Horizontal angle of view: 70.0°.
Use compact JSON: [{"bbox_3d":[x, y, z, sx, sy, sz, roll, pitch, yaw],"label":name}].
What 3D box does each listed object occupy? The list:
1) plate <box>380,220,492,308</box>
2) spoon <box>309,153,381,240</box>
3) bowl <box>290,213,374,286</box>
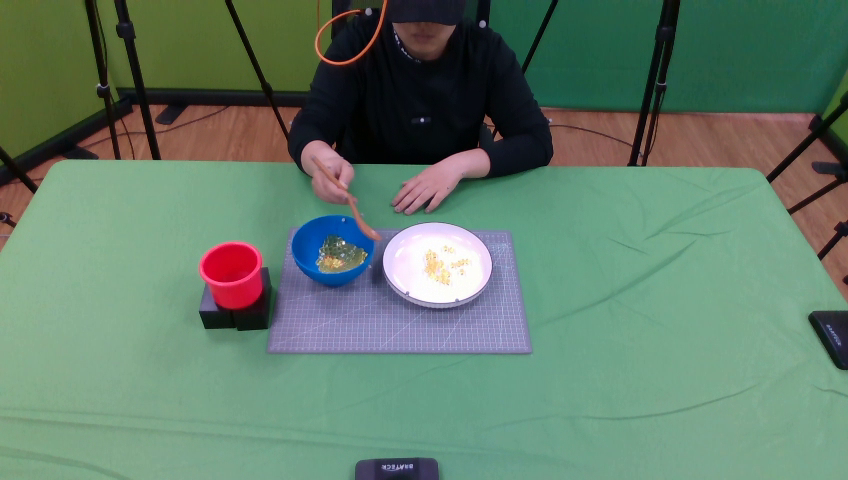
[{"bbox_3d":[0.022,0.048,1.137,0.208,0.039,0.206,2,46,-2],"label":"plate"},{"bbox_3d":[-0.133,-0.072,1.035,0.021,0.194,0.041,-30,25,8],"label":"spoon"},{"bbox_3d":[-0.166,0.031,1.113,0.151,0.077,0.150,2,46,-2],"label":"bowl"}]
